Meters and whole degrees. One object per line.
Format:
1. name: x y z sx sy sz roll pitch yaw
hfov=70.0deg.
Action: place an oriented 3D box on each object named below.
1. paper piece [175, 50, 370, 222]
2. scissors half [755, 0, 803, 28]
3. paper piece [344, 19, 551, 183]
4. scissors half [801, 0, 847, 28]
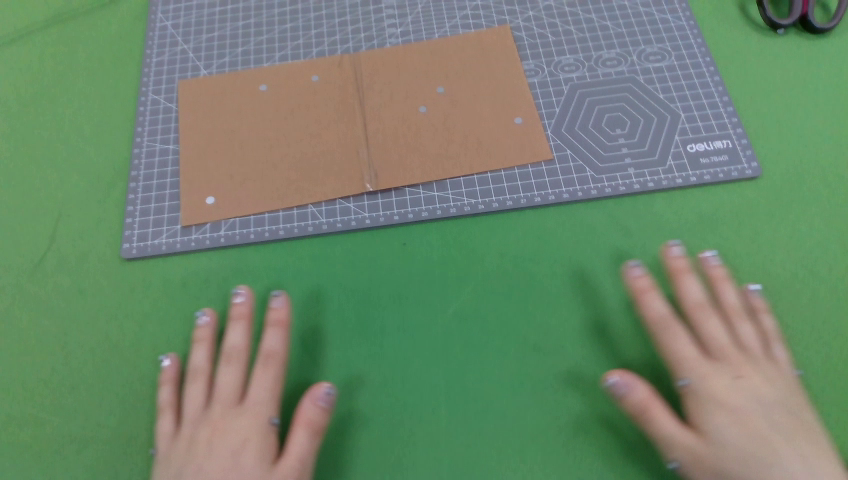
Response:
1. paper piece: -0.117 -0.084 0.453 0.138 0.009 0.134 -10 61 -2
2. scissors half: 0.298 -0.257 0.487 0.040 0.013 0.175 15 87 6
3. paper piece: 0.014 -0.109 0.459 0.136 0.004 0.134 -10 63 -4
4. scissors half: 0.318 -0.255 0.484 0.040 0.013 0.175 -3 85 10
